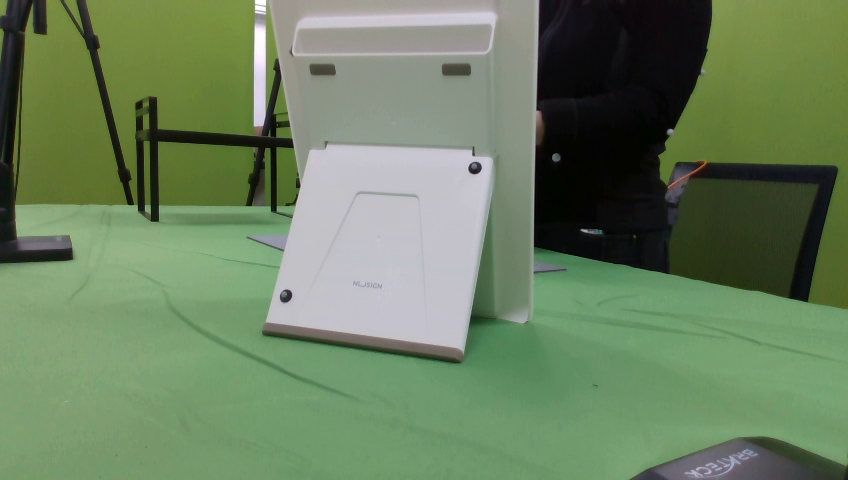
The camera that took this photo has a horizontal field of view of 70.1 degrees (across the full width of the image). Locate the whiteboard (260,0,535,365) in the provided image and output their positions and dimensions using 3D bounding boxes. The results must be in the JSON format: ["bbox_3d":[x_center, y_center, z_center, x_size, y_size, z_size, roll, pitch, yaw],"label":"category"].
[{"bbox_3d":[-0.037,-0.041,0.457,0.216,0.305,0.144,5,28,19],"label":"whiteboard"}]

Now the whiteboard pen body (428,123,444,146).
[{"bbox_3d":[0.018,-0.173,0.985,0.017,0.017,0.141,3,-2,7],"label":"whiteboard pen body"}]

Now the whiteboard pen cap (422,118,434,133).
[{"bbox_3d":[0.007,-0.175,0.927,0.018,0.018,0.033,3,-3,8],"label":"whiteboard pen cap"}]
